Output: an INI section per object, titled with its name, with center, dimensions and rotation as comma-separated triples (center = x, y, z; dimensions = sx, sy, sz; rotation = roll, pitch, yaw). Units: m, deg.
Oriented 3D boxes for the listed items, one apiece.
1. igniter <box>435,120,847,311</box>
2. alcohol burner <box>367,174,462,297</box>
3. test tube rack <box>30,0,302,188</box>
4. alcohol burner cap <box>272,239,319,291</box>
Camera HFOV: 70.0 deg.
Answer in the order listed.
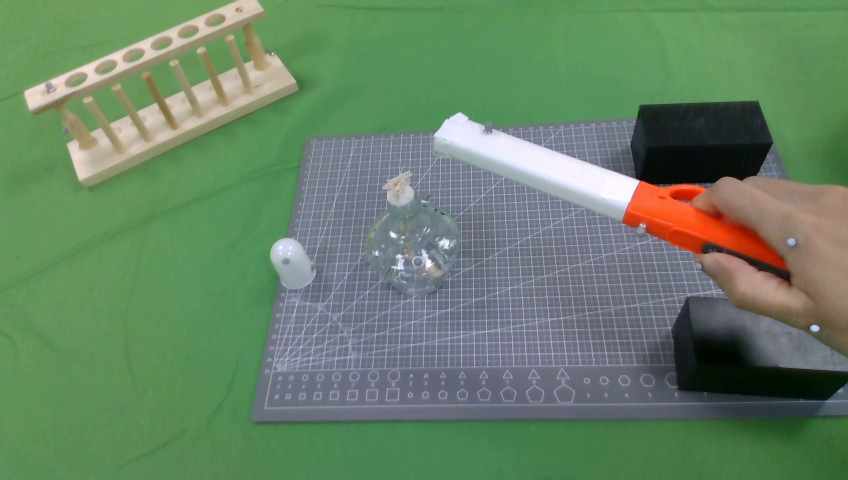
[igniter]
center = 0.135, -0.018, 0.360
dimensions = 0.275, 0.025, 0.057
rotation = 22, 51, 18
[alcohol burner]
center = -0.010, -0.007, 0.476
dimensions = 0.078, 0.120, 0.077
rotation = -4, 53, 5
[test tube rack]
center = -0.259, -0.154, 0.631
dimensions = 0.242, 0.086, 0.066
rotation = -28, 57, -13
[alcohol burner cap]
center = -0.111, 0.018, 0.515
dimensions = 0.034, 0.048, 0.033
rotation = -4, 56, 6
